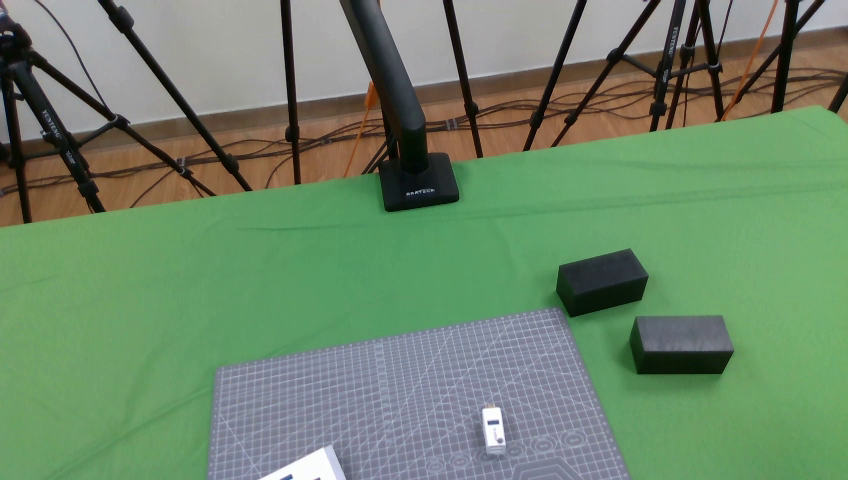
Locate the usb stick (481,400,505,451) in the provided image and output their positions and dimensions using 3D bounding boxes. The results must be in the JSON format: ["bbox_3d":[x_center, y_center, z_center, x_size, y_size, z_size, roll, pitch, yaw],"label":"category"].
[{"bbox_3d":[0.077,0.204,0.679,0.021,0.027,0.058,-6,44,2],"label":"usb stick"}]

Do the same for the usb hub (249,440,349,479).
[{"bbox_3d":[-0.146,0.263,0.643,0.125,0.025,0.049,-22,49,-16],"label":"usb hub"}]
